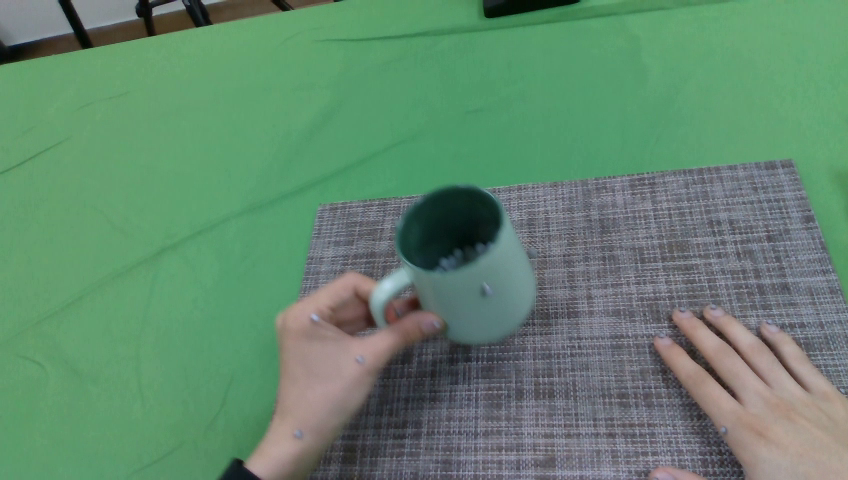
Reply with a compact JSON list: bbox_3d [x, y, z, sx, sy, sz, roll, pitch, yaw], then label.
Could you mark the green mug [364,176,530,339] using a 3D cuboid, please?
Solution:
[{"bbox_3d":[0.014,0.025,0.450,0.125,0.106,0.091,-35,52,-5],"label":"green mug"}]
